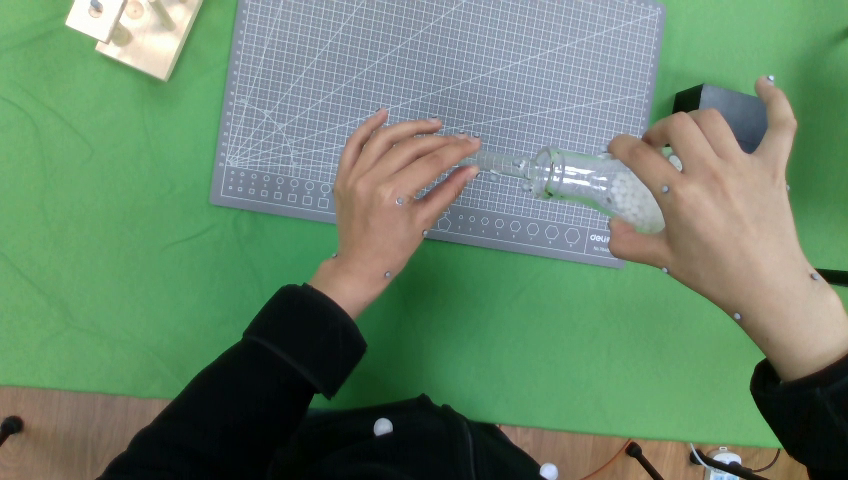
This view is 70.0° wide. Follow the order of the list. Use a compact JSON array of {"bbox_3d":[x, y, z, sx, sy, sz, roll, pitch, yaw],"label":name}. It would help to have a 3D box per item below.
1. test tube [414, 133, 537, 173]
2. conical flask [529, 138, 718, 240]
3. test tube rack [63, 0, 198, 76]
[{"bbox_3d":[0.035,-0.072,0.492,0.017,0.149,0.017,-11,110,-32],"label":"test tube"},{"bbox_3d":[0.138,-0.044,0.432,0.122,0.075,0.075,8,91,-14],"label":"conical flask"},{"bbox_3d":[-0.224,-0.279,0.537,0.067,0.085,0.242,23,89,-12],"label":"test tube rack"}]
